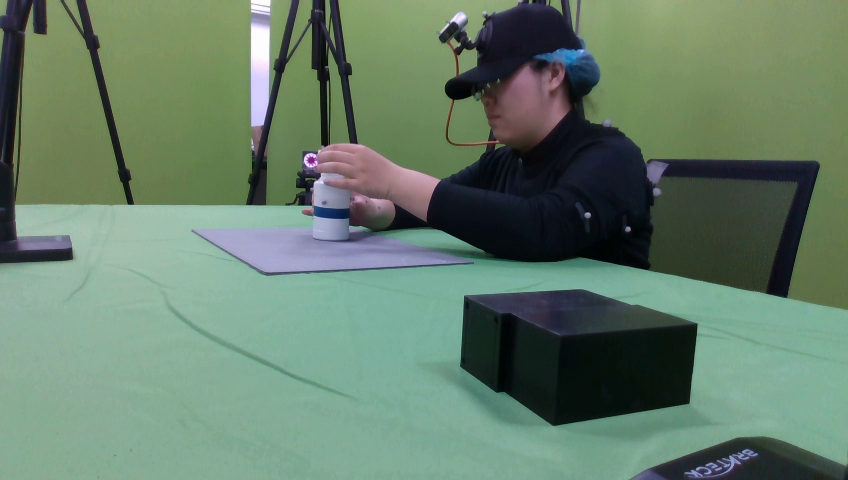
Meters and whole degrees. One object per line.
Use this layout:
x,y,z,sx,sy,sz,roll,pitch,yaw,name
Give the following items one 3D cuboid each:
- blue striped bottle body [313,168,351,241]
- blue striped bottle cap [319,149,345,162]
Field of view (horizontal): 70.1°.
-0.156,-0.062,1.025,0.063,0.120,0.063,2,7,0,blue striped bottle body
-0.152,-0.140,1.002,0.044,0.020,0.044,1,9,0,blue striped bottle cap
